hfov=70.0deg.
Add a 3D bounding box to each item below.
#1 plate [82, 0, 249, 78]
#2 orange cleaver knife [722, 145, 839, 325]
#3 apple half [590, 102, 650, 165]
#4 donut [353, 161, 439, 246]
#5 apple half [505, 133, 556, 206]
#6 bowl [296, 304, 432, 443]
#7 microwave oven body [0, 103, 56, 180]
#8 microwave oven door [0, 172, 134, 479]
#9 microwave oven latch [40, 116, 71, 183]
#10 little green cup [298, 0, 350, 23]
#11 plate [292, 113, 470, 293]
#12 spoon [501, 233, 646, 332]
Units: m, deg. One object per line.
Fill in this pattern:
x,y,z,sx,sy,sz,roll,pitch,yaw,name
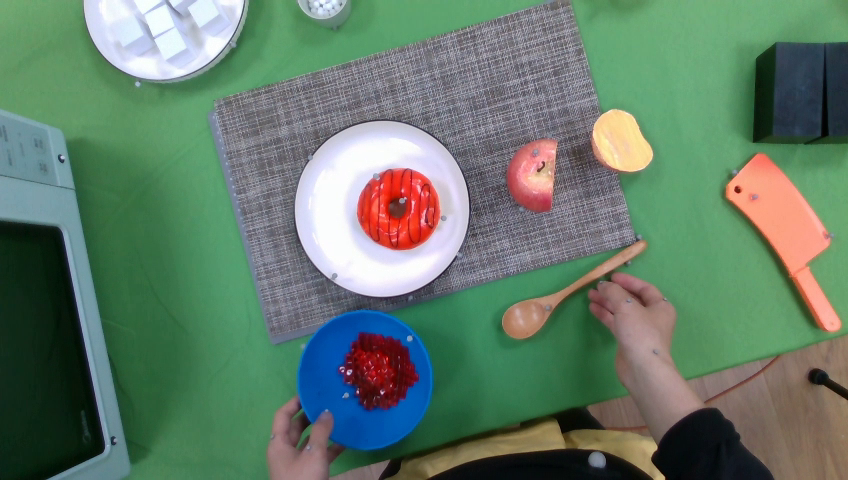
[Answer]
-0.312,-0.299,0.745,0.207,0.039,0.207,0,89,6,plate
0.415,-0.007,0.680,0.077,0.012,0.211,-31,85,-1,orange cleaver knife
0.214,-0.114,0.688,0.082,0.033,0.080,9,68,-21,apple half
-0.032,-0.042,0.698,0.099,0.048,0.099,0,91,6,donut
0.118,-0.079,0.679,0.053,0.075,0.081,4,92,9,apple half
-0.062,0.146,0.692,0.151,0.077,0.151,0,89,6,bowl
-0.570,0.095,0.645,0.326,0.260,0.441,-13,88,4,microwave oven body
-0.419,0.102,0.626,0.039,0.244,0.355,-14,87,5,microwave oven door
-0.456,-0.108,0.736,0.030,0.029,0.079,-12,88,4,microwave oven latch
-0.119,-0.293,0.727,0.061,0.039,0.061,0,88,6,little green cup
-0.049,-0.042,0.711,0.209,0.038,0.209,0,89,6,plate
0.174,0.047,0.700,0.194,0.022,0.041,-32,73,4,spoon
